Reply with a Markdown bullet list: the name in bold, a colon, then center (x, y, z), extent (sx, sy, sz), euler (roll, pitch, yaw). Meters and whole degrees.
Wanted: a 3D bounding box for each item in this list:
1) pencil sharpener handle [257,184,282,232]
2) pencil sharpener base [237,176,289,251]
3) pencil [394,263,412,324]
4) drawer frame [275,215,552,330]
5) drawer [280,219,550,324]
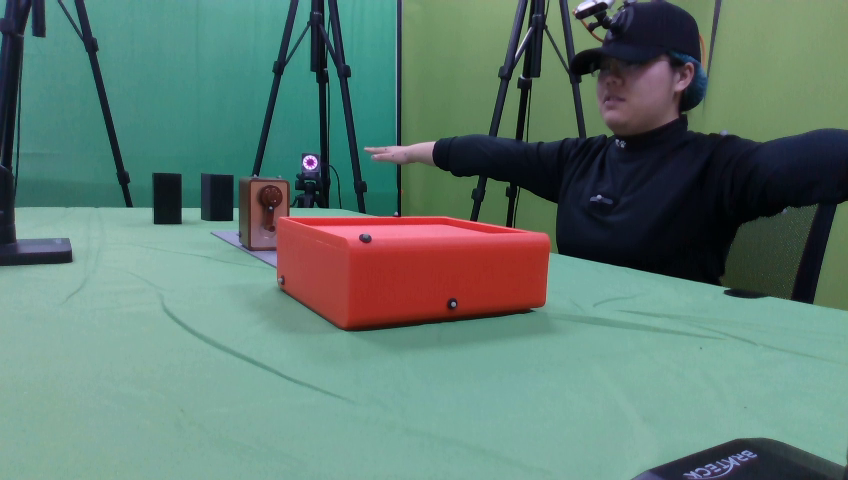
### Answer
- **pencil sharpener handle**: center (-0.219, -0.046, 0.865), extent (0.036, 0.067, 0.030), euler (6, 5, -29)
- **pencil sharpener base**: center (-0.243, -0.040, 0.912), extent (0.061, 0.107, 0.076), euler (-1, 8, -29)
- **pencil**: center (-0.022, 0.052, 0.614), extent (0.012, 0.012, 0.194), euler (3, 12, 0)
- **drawer frame**: center (-0.017, 0.022, 0.610), extent (0.215, 0.082, 0.200), euler (-2, 9, -31)
- **drawer**: center (-0.016, 0.023, 0.612), extent (0.213, 0.073, 0.193), euler (-2, 9, -30)
